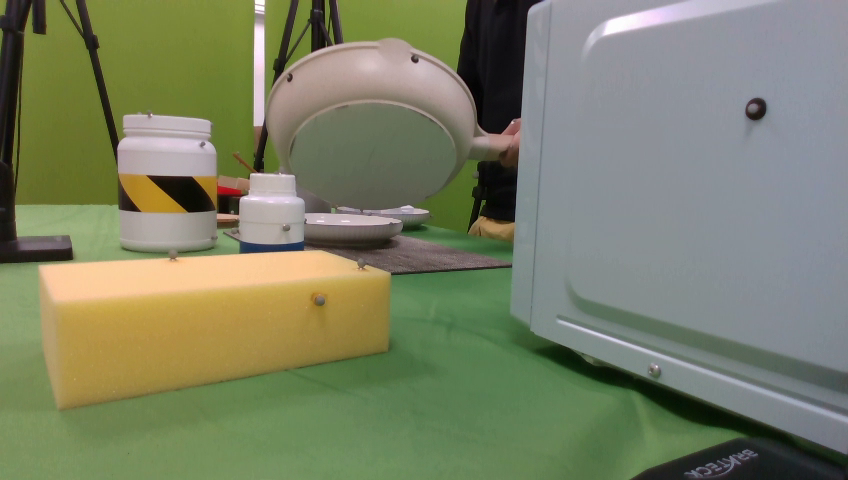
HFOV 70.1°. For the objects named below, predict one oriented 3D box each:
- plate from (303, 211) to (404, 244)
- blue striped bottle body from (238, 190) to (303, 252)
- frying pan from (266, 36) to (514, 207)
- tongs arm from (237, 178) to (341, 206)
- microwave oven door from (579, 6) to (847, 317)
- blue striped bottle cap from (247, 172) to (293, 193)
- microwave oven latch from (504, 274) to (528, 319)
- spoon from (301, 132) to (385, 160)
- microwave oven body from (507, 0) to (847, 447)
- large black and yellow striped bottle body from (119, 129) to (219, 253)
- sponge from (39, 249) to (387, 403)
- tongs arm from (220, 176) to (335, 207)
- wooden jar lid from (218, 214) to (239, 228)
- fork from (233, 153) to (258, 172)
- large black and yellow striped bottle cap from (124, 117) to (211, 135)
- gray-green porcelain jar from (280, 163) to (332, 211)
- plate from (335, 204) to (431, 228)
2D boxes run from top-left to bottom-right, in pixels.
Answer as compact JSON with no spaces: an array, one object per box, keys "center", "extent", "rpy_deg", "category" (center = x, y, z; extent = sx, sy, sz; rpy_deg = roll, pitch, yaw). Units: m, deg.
[{"center":[-0.139,-0.022,1.021],"extent":[0.209,0.038,0.209],"rpy_deg":[2,8,0],"category":"plate"},{"center":[-0.153,-0.007,0.605],"extent":[0.063,0.120,0.063],"rpy_deg":[2,7,0],"category":"blue striped bottle body"},{"center":[0.030,-0.143,0.862],"extent":[0.490,0.102,0.306],"rpy_deg":[-3,-30,-17],"category":"frying pan"},{"center":[-0.242,-0.095,1.374],"extent":[0.387,0.026,0.050],"rpy_deg":[9,0,-37],"category":"tongs arm"},{"center":[0.294,-0.067,0.570],"extent":[0.358,0.243,0.039],"rpy_deg":[-3,9,-31],"category":"microwave oven door"},{"center":[-0.152,-0.057,0.598],"extent":[0.044,0.020,0.044],"rpy_deg":[3,7,0],"category":"blue striped bottle cap"},{"center":[0.100,0.042,0.469],"extent":[0.079,0.029,0.030],"rpy_deg":[-1,7,-25],"category":"microwave oven latch"},{"center":[-0.141,-0.162,1.083],"extent":[0.195,0.041,0.021],"rpy_deg":[3,-28,-44],"category":"spoon"},{"center":[0.331,-0.042,0.425],"extent":[0.444,0.260,0.324],"rpy_deg":[-2,8,-31],"category":"microwave oven body"},{"center":[-0.367,-0.080,0.876],"extent":[0.131,0.184,0.130],"rpy_deg":[2,7,0],"category":"large black and yellow striped bottle body"},{"center":[-0.142,0.047,0.420],"extent":[0.208,0.061,0.117],"rpy_deg":[-3,8,-36],"category":"sponge"},{"center":[-0.286,-0.104,1.445],"extent":[0.389,0.027,0.028],"rpy_deg":[9,-4,-23],"category":"tongs arm"},{"center":[-0.404,-0.037,1.169],"extent":[0.108,0.020,0.108],"rpy_deg":[3,7,0],"category":"wooden jar lid"},{"center":[-0.396,-0.144,1.486],"extent":[0.028,0.018,0.208],"rpy_deg":[20,-26,45],"category":"fork"},{"center":[-0.366,-0.163,0.866],"extent":[0.115,0.019,0.115],"rpy_deg":[3,7,0],"category":"large black and yellow striped bottle cap"},{"center":[-0.238,-0.092,1.221],"extent":[0.106,0.126,0.106],"rpy_deg":[2,7,0],"category":"gray-green porcelain jar"},{"center":[-0.089,-0.053,1.309],"extent":[0.208,0.039,0.207],"rpy_deg":[2,8,0],"category":"plate"}]
